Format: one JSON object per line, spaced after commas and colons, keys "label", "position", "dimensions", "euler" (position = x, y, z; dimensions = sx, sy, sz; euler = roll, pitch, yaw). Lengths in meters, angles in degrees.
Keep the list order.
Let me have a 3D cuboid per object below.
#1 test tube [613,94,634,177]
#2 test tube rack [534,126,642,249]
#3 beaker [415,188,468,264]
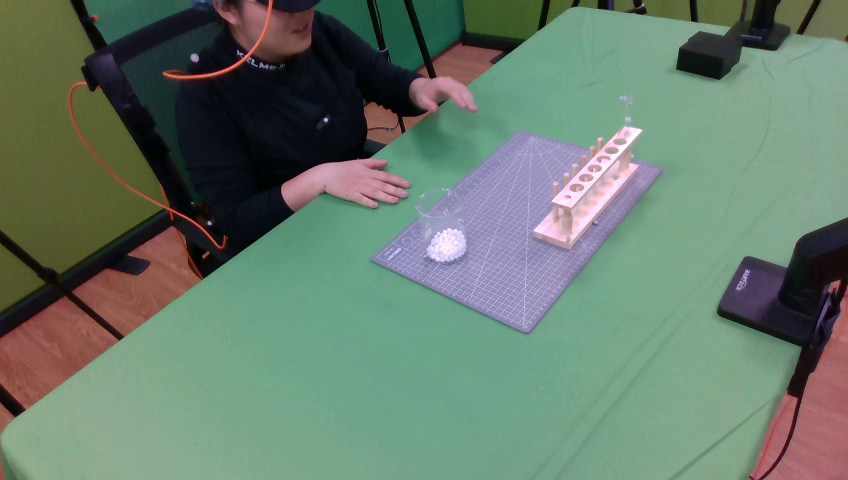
{"label": "test tube", "position": [0.325, -0.168, 0.989], "dimensions": [0.017, 0.151, 0.017], "euler": [-3, 40, 3]}
{"label": "test tube rack", "position": [0.271, -0.095, 0.990], "dimensions": [0.066, 0.085, 0.243], "euler": [23, 49, 33]}
{"label": "beaker", "position": [0.031, -0.021, 0.937], "dimensions": [0.073, 0.101, 0.084], "euler": [8, 42, 20]}
